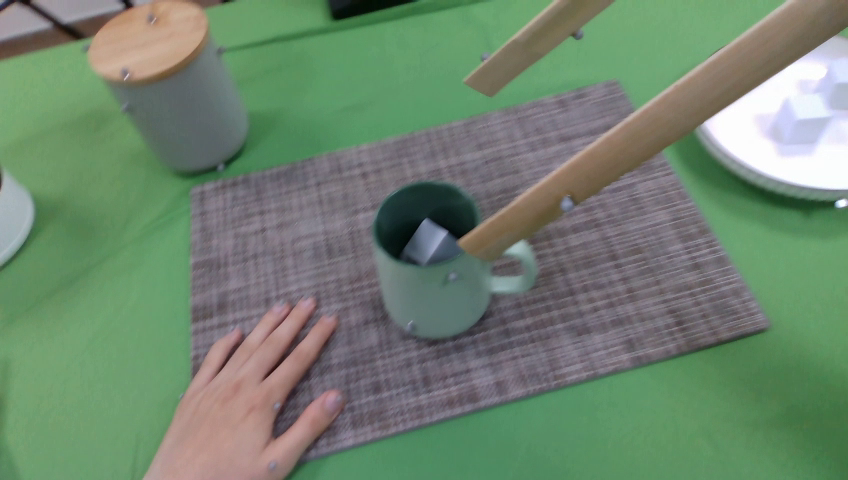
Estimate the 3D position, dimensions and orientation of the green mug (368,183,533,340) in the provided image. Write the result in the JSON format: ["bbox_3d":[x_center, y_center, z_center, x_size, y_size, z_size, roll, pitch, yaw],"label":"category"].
[{"bbox_3d":[0.021,0.020,0.467,0.125,0.106,0.092,4,55,10],"label":"green mug"}]

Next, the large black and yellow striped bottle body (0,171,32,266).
[{"bbox_3d":[-0.467,-0.053,0.537,0.130,0.186,0.129,-3,55,5],"label":"large black and yellow striped bottle body"}]

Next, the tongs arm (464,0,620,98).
[{"bbox_3d":[0.147,-0.149,0.252,0.027,0.384,0.050,25,55,-28],"label":"tongs arm"}]

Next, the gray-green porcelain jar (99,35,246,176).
[{"bbox_3d":[-0.243,-0.135,0.602,0.106,0.128,0.105,-3,55,5],"label":"gray-green porcelain jar"}]

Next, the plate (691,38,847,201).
[{"bbox_3d":[0.349,-0.114,0.563,0.207,0.039,0.205,-3,55,5],"label":"plate"}]

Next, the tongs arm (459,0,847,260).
[{"bbox_3d":[0.142,-0.090,0.216,0.028,0.388,0.028,27,45,-25],"label":"tongs arm"}]

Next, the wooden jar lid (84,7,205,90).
[{"bbox_3d":[-0.251,-0.171,0.552,0.108,0.021,0.107,-3,58,5],"label":"wooden jar lid"}]
